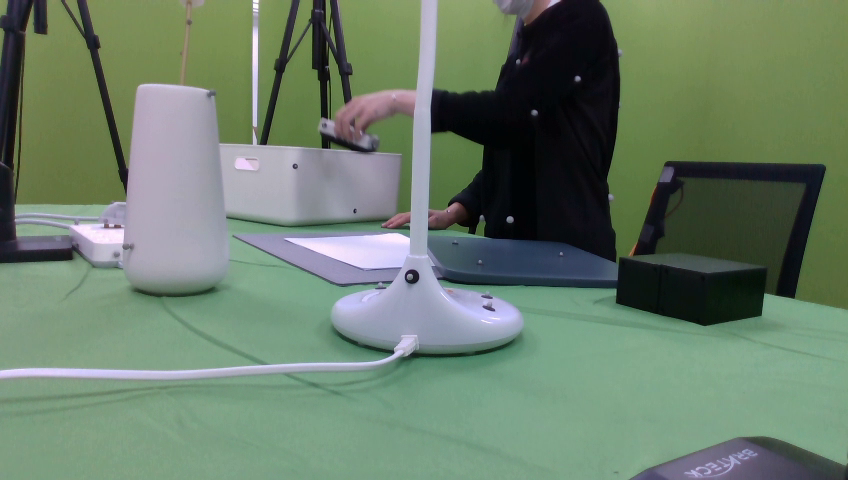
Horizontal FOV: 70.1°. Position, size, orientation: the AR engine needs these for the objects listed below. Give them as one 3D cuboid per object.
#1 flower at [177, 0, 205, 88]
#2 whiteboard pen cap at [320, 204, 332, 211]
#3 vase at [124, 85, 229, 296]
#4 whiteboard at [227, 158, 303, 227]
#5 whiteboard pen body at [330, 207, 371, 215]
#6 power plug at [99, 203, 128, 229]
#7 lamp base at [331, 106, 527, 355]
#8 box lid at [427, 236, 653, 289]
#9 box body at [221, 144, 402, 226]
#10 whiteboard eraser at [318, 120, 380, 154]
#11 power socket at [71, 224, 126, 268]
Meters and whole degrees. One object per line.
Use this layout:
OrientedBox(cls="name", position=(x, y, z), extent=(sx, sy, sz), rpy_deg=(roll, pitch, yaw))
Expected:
OrientedBox(cls="flower", position=(-0.243, -0.131, 0.609), extent=(0.044, 0.361, 0.038), rpy_deg=(-5, -12, 12))
OrientedBox(cls="whiteboard pen cap", position=(-0.247, -0.082, 1.532), extent=(0.033, 0.018, 0.018), rpy_deg=(8, 10, 39))
OrientedBox(cls="vase", position=(-0.244, -0.047, 0.598), extent=(0.098, 0.200, 0.098), rpy_deg=(3, 9, 0))
OrientedBox(cls="whiteboard", position=(-0.265, -0.117, 1.373), extent=(0.216, 0.143, 0.307), rpy_deg=(5, 8, 36))
OrientedBox(cls="whiteboard pen body", position=(-0.189, -0.074, 1.522), extent=(0.140, 0.017, 0.017), rpy_deg=(7, 9, 37))
OrientedBox(cls="power plug", position=(-0.415, -0.026, 0.848), extent=(0.073, 0.052, 0.035), rpy_deg=(6, 5, -28))
OrientedBox(cls="lamp base", position=(0.006, -0.012, 0.478), extent=(0.161, 0.180, 0.179), rpy_deg=(2, 10, 2))
OrientedBox(cls="box lid", position=(0.139, 0.028, 0.886), extent=(0.264, 0.015, 0.371), rpy_deg=(2, 7, -6))
OrientedBox(cls="box body", position=(-0.254, -0.128, 1.379), extent=(0.253, 0.160, 0.366), rpy_deg=(8, 9, 36))
OrientedBox(cls="whiteboard eraser", position=(-0.145, -0.197, 1.165), extent=(0.112, 0.042, 0.056), rpy_deg=(22, 18, 18))
OrientedBox(cls="power socket", position=(-0.409, 0.004, 0.793), extent=(0.072, 0.032, 0.225), rpy_deg=(-2, 8, -37))
